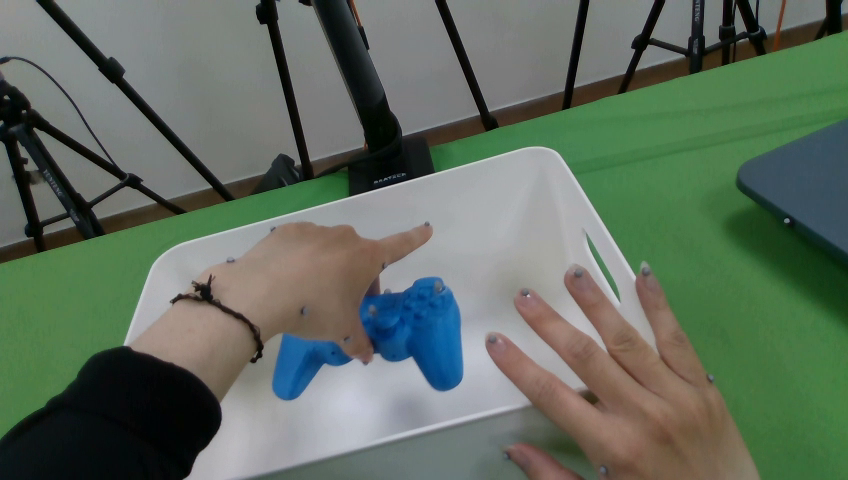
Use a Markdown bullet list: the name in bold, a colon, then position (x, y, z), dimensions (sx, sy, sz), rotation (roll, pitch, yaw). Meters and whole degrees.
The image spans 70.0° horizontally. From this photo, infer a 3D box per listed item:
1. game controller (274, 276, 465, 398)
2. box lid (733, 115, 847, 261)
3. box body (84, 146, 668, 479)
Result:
- **game controller**: position (-0.044, 0.072, 0.483), dimensions (0.155, 0.052, 0.096), rotation (-6, 39, 13)
- **box lid**: position (0.479, -0.019, 0.493), dimensions (0.263, 0.015, 0.367), rotation (-23, 39, -8)
- **box body**: position (-0.028, 0.095, 0.485), dimensions (0.364, 0.162, 0.251), rotation (-16, 39, 2)
